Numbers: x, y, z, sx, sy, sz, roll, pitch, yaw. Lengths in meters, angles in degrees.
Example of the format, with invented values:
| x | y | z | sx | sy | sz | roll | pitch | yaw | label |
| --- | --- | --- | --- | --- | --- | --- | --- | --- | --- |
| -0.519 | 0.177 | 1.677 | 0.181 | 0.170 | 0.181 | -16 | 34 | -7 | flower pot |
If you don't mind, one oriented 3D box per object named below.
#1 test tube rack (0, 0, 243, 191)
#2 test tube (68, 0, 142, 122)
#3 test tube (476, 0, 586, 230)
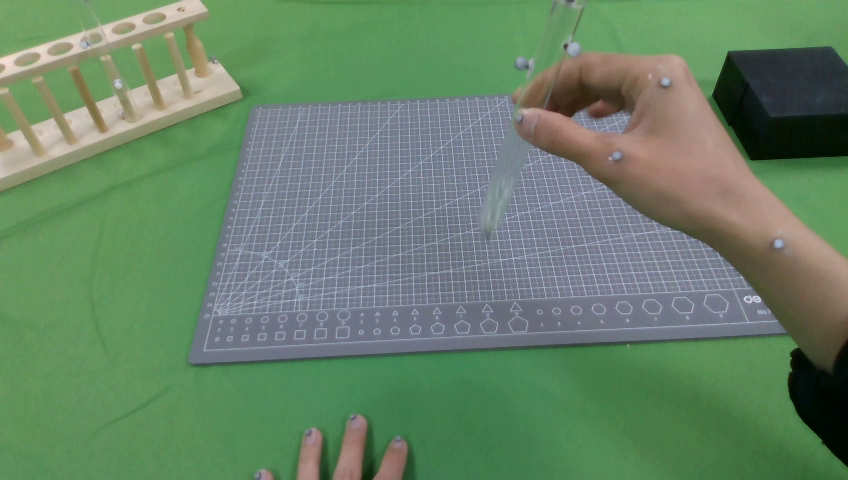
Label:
| x | y | z | sx | sy | sz | roll | pitch | yaw | label |
| --- | --- | --- | --- | --- | --- | --- | --- | --- | --- |
| -0.309 | -0.144 | 0.578 | 0.242 | 0.086 | 0.066 | -28 | 54 | -20 | test tube rack |
| -0.287 | -0.169 | 0.541 | 0.017 | 0.152 | 0.017 | -1 | 49 | 1 | test tube |
| 0.052 | -0.060 | 0.324 | 0.017 | 0.151 | 0.017 | 8 | 46 | -7 | test tube |
